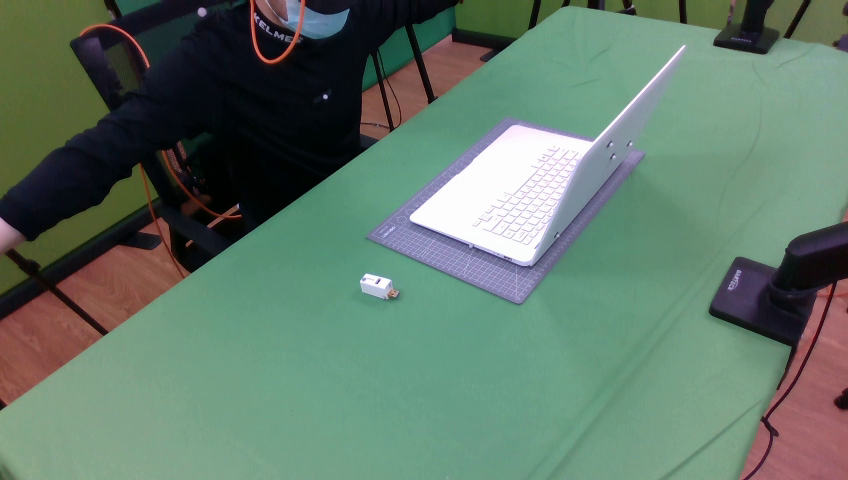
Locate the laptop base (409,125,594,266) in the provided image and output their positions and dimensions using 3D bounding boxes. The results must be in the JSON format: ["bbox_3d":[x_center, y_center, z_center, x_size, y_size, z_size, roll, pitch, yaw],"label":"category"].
[{"bbox_3d":[0.168,-0.093,1.055,0.233,0.023,0.355,20,47,32],"label":"laptop base"}]

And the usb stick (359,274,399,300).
[{"bbox_3d":[-0.065,0.071,0.892,0.059,0.027,0.021,16,44,21],"label":"usb stick"}]

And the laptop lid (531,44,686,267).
[{"bbox_3d":[0.279,-0.128,0.906,0.013,0.242,0.357,34,52,17],"label":"laptop lid"}]
